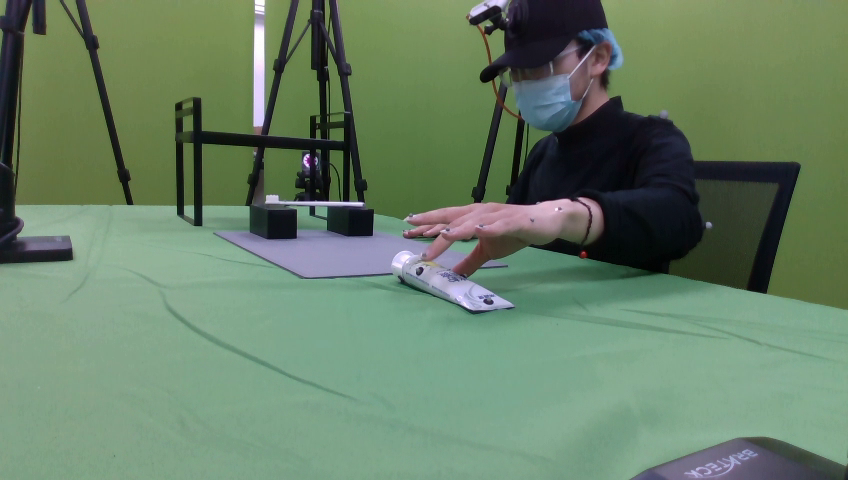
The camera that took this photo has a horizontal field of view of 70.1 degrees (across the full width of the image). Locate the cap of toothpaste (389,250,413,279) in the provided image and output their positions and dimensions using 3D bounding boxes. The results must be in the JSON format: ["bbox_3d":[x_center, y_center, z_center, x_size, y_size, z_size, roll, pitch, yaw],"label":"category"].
[{"bbox_3d":[-0.023,0.030,0.700,0.037,0.037,0.011,-3,13,-36],"label":"cap of toothpaste"}]

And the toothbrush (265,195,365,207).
[{"bbox_3d":[-0.192,-0.068,1.082,0.183,0.016,0.014,1,-8,-26],"label":"toothbrush"}]

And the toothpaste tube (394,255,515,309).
[{"bbox_3d":[0.020,0.046,0.636,0.055,0.034,0.164,-7,15,-35],"label":"toothpaste tube"}]
